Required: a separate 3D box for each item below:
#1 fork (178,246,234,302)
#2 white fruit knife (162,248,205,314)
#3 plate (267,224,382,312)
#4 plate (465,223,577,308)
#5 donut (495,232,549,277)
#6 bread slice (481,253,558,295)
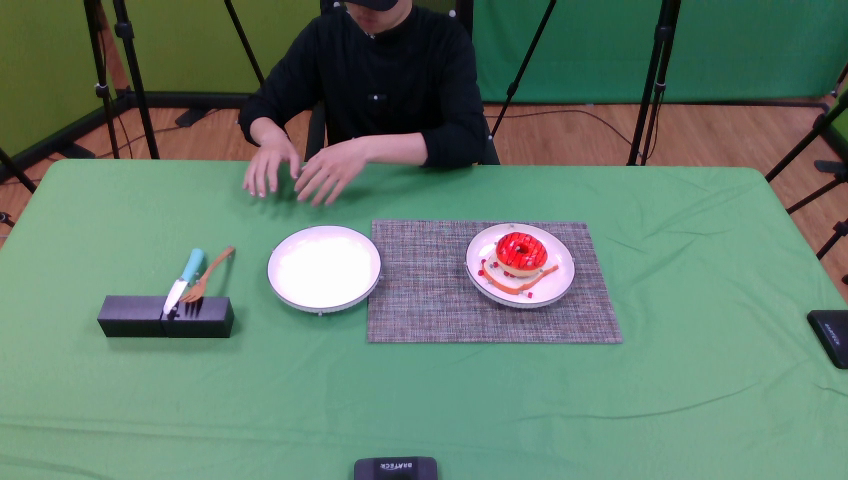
[{"bbox_3d":[-0.380,0.057,1.075,0.028,0.019,0.206,2,28,6],"label":"fork"},{"bbox_3d":[-0.420,0.070,1.063,0.027,0.016,0.206,-1,29,-3],"label":"white fruit knife"},{"bbox_3d":[-0.182,0.055,1.120,0.208,0.039,0.206,2,46,-2],"label":"plate"},{"bbox_3d":[0.180,0.051,1.144,0.209,0.038,0.208,2,45,-2],"label":"plate"},{"bbox_3d":[0.180,0.026,1.119,0.099,0.048,0.098,2,46,-2],"label":"donut"},{"bbox_3d":[0.177,0.050,1.148,0.131,0.019,0.104,-32,55,-31],"label":"bread slice"}]
